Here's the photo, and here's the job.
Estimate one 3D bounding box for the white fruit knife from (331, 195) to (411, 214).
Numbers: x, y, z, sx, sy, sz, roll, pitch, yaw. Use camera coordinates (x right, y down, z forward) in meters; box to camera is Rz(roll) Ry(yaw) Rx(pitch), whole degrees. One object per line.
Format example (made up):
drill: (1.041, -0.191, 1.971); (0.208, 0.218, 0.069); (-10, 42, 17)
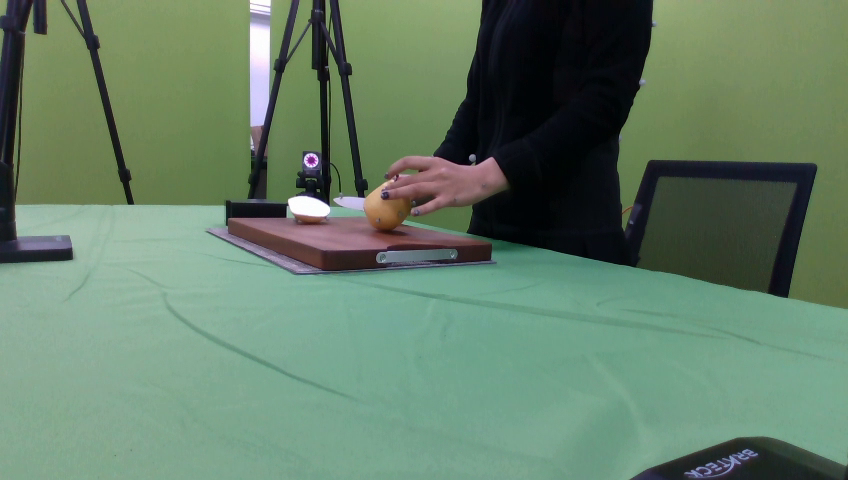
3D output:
white fruit knife: (-0.086, -0.064, 1.043); (0.016, 0.027, 0.208); (7, 3, 35)

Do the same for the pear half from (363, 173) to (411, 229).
pear half: (-0.050, -0.059, 0.942); (0.076, 0.056, 0.109); (-20, -27, -28)

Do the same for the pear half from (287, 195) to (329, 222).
pear half: (-0.203, -0.048, 1.041); (0.070, 0.031, 0.088); (20, 26, 15)
